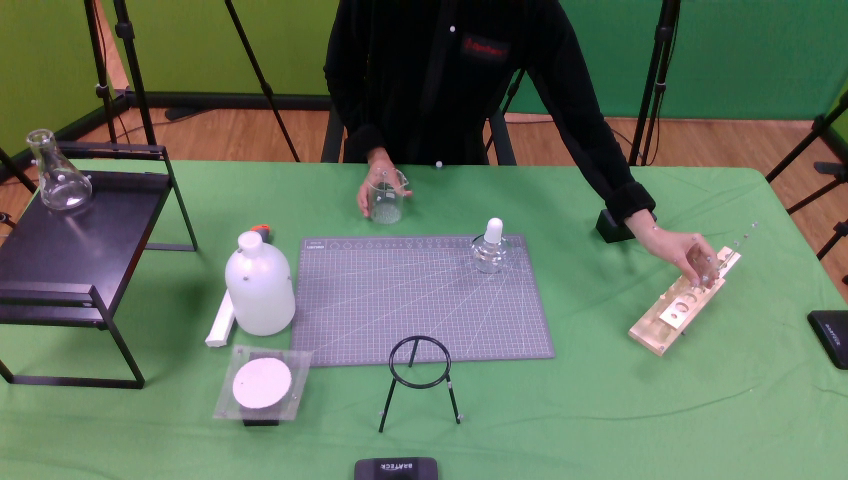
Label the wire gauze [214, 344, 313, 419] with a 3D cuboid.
[{"bbox_3d":[-0.241,0.213,0.915,0.121,0.011,0.124,5,46,1],"label":"wire gauze"}]

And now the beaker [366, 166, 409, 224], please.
[{"bbox_3d":[-0.074,-0.087,1.222,0.084,0.101,0.073,4,46,-1],"label":"beaker"}]

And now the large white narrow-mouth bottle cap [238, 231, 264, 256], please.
[{"bbox_3d":[-0.266,0.006,0.932,0.038,0.024,0.037,2,46,-2],"label":"large white narrow-mouth bottle cap"}]

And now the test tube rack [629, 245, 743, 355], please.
[{"bbox_3d":[0.474,0.095,1.091,0.242,0.085,0.066,-34,56,-31],"label":"test tube rack"}]

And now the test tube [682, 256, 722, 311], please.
[{"bbox_3d":[0.474,0.079,1.037,0.017,0.151,0.017,1,50,0],"label":"test tube"}]

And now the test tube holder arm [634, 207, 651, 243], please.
[{"bbox_3d":[0.428,-0.030,1.189,0.010,0.015,0.087,4,47,-3],"label":"test tube holder arm"}]

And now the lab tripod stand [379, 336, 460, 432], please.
[{"bbox_3d":[-0.010,0.214,0.911,0.148,0.132,0.147,1,45,0],"label":"lab tripod stand"}]

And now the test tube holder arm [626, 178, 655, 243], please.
[{"bbox_3d":[0.434,-0.063,1.220,0.013,0.015,0.177,3,47,-4],"label":"test tube holder arm"}]

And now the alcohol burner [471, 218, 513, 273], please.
[{"bbox_3d":[0.128,0.005,1.132,0.078,0.120,0.077,0,47,0],"label":"alcohol burner"}]

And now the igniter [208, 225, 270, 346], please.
[{"bbox_3d":[-0.331,0.072,1.099,0.057,0.025,0.275,-4,45,10],"label":"igniter"}]

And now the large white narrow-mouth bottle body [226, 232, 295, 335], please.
[{"bbox_3d":[-0.270,0.065,0.995,0.102,0.195,0.101,2,46,-2],"label":"large white narrow-mouth bottle body"}]

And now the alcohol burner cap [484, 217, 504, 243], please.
[{"bbox_3d":[0.129,-0.021,1.107,0.034,0.048,0.033,4,41,-3],"label":"alcohol burner cap"}]

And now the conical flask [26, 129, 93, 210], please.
[{"bbox_3d":[-0.575,-0.113,0.946,0.075,0.122,0.075,2,46,-2],"label":"conical flask"}]

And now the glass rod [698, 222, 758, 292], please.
[{"bbox_3d":[0.527,0.036,1.059,0.008,0.200,0.008,5,49,-6],"label":"glass rod"}]
